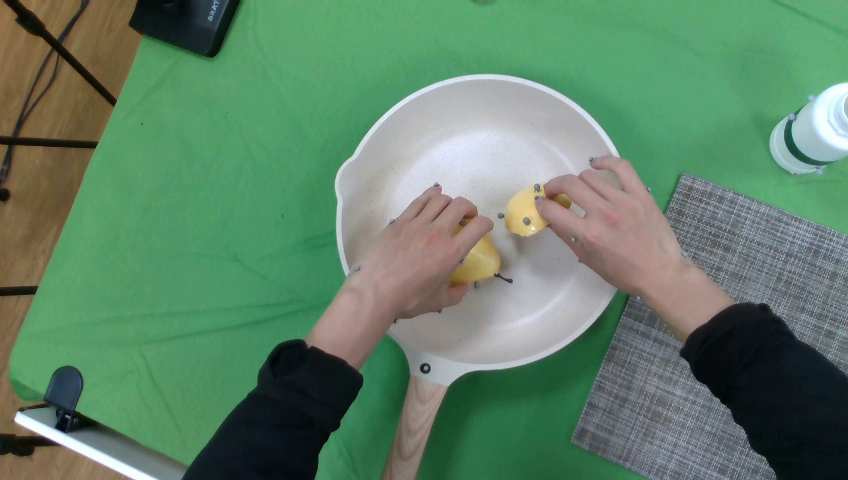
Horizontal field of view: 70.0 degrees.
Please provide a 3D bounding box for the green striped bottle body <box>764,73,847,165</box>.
[{"bbox_3d":[0.374,-0.113,0.564,0.063,0.119,0.063,-1,85,7],"label":"green striped bottle body"}]

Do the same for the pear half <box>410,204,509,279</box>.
[{"bbox_3d":[0.036,0.008,0.612,0.109,0.056,0.076,27,102,21],"label":"pear half"}]

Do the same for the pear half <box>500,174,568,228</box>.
[{"bbox_3d":[0.104,-0.045,0.598,0.070,0.087,0.031,-21,109,25],"label":"pear half"}]

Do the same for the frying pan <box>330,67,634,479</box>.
[{"bbox_3d":[0.021,0.072,0.602,0.306,0.103,0.486,18,80,9],"label":"frying pan"}]
